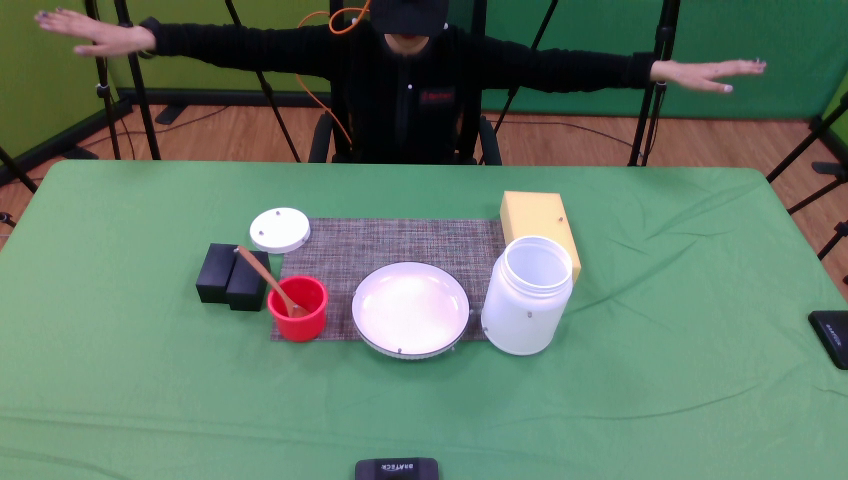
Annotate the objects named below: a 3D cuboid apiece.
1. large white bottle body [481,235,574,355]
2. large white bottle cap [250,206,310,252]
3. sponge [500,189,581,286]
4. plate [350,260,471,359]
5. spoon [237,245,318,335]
[{"bbox_3d":[0.171,0.091,1.006,0.131,0.185,0.130,3,48,-3],"label":"large white bottle body"},{"bbox_3d":[-0.284,-0.022,1.197,0.115,0.018,0.114,1,46,-1],"label":"large white bottle cap"},{"bbox_3d":[0.223,-0.007,1.192,0.118,0.061,0.205,1,47,-6],"label":"sponge"},{"bbox_3d":[-0.024,0.124,1.061,0.209,0.038,0.208,2,46,-2],"label":"plate"},{"bbox_3d":[-0.244,0.082,1.010,0.041,0.021,0.194,-46,108,-35],"label":"spoon"}]
